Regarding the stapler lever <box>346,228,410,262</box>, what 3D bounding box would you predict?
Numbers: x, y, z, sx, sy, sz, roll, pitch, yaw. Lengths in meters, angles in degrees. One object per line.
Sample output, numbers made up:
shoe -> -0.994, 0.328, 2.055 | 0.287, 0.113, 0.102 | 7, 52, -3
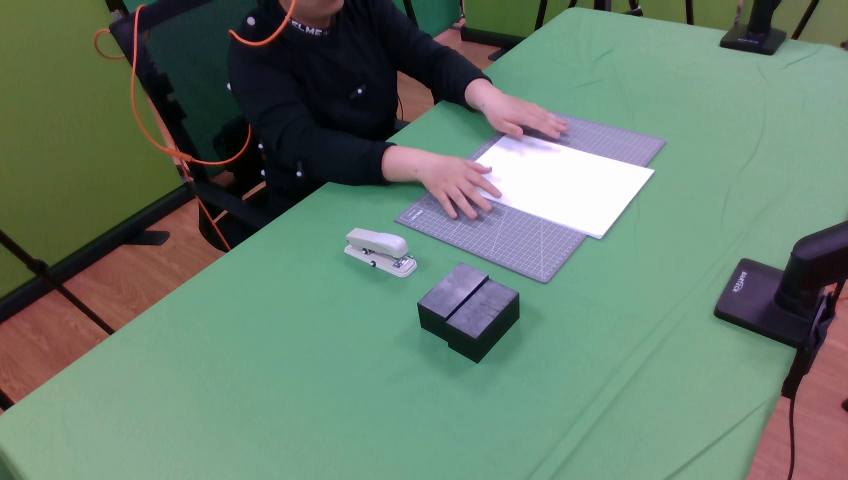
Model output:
stapler lever -> -0.074, 0.001, 0.950 | 0.117, 0.040, 0.027 | 21, 45, 30

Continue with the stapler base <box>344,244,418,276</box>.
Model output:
stapler base -> -0.070, 0.020, 0.964 | 0.129, 0.024, 0.041 | 20, 45, 31
